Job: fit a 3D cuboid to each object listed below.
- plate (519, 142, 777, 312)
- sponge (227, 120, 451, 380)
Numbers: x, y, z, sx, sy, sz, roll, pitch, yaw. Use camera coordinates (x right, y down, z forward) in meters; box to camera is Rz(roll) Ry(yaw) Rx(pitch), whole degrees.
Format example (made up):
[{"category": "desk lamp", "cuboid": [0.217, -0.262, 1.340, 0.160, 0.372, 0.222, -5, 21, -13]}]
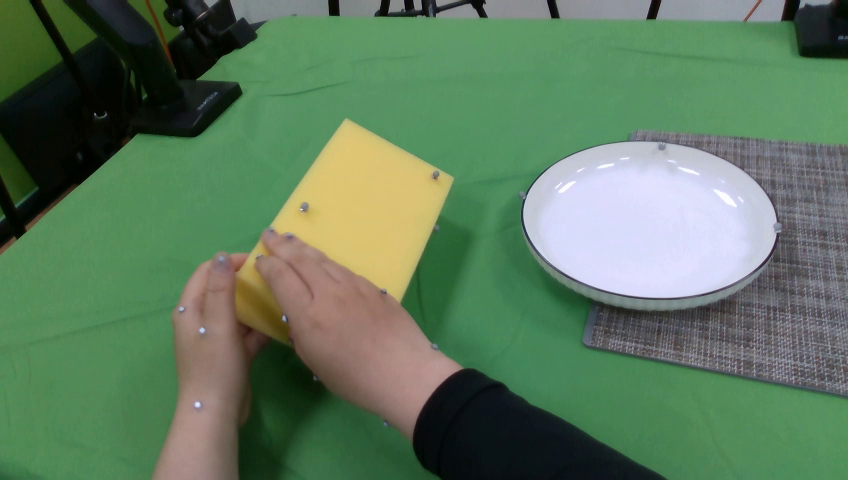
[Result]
[{"category": "plate", "cuboid": [0.189, -0.013, 0.531, 0.209, 0.038, 0.207, -6, 43, 6]}, {"category": "sponge", "cuboid": [-0.063, 0.000, 0.522, 0.118, 0.061, 0.205, 27, 47, -6]}]
